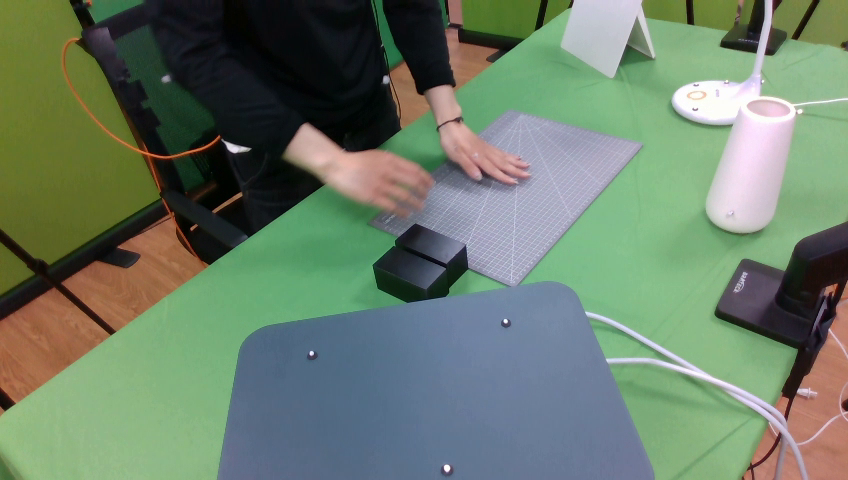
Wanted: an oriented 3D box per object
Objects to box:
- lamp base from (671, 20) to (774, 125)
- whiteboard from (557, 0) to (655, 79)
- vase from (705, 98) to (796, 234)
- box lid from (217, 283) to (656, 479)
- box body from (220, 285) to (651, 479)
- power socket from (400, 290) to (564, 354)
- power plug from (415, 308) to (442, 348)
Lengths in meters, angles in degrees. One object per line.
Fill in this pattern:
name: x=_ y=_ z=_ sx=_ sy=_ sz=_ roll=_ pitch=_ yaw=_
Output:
lamp base: x=0.581 y=-0.332 z=1.154 sx=0.179 sy=0.181 sz=0.160 roll=2 pitch=41 yaw=7
whiteboard: x=0.462 y=-0.542 z=1.367 sx=0.145 sy=0.306 sz=0.215 roll=-3 pitch=36 yaw=-25
vase: x=0.480 y=-0.104 z=0.889 sx=0.098 sy=0.201 sz=0.097 roll=-4 pitch=42 yaw=4
box lid: x=-0.004 y=0.155 z=0.568 sx=0.372 sy=0.015 sz=0.261 roll=-8 pitch=39 yaw=-2
box body: x=0.005 y=0.211 z=0.616 sx=0.364 sy=0.161 sz=0.252 roll=-9 pitch=40 yaw=-2
power socket: x=0.079 y=0.111 z=0.823 sx=0.227 sy=0.033 sz=0.072 roll=-5 pitch=41 yaw=1
power plug: x=0.004 y=0.121 z=0.786 sx=0.035 sy=0.053 sz=0.072 roll=1 pitch=45 yaw=8
